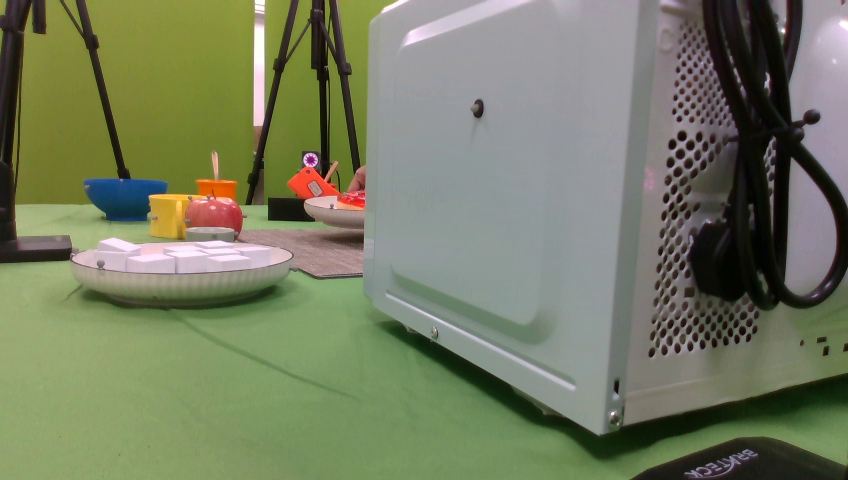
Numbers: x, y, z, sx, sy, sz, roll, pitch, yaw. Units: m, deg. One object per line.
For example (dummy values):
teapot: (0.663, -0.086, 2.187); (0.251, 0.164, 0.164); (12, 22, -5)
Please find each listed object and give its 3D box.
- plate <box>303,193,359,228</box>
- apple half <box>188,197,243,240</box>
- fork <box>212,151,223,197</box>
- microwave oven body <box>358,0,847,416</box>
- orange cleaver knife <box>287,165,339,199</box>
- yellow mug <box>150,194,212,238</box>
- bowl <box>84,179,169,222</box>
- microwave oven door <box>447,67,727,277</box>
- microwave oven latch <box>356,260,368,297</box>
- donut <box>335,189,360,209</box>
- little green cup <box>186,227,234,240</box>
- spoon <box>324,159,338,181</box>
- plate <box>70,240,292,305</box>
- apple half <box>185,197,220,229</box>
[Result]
plate: (-0.105, -0.052, 1.052); (0.209, 0.038, 0.209); (2, 11, 0)
apple half: (-0.305, -0.026, 0.907); (0.053, 0.074, 0.081); (12, 8, 31)
fork: (-0.494, -0.143, 1.442); (0.028, 0.018, 0.206); (-2, 52, -20)
microwave oven body: (0.211, -0.047, 0.475); (0.444, 0.260, 0.324); (-1, 8, -28)
orange cleaver knife: (-0.211, -0.093, 1.382); (0.212, 0.077, 0.012); (33, 1, -15)
yellow mug: (-0.401, -0.040, 1.003); (0.100, 0.064, 0.130); (0, 9, -20)
bowl: (-0.584, -0.078, 1.194); (0.151, 0.077, 0.151); (3, 8, 0)
microwave oven door: (0.192, -0.094, 0.796); (0.354, 0.243, 0.039); (7, 9, 34)
microwave oven latch: (-0.020, 0.033, 0.531); (0.079, 0.029, 0.030); (-1, 7, -27)
donut: (-0.106, -0.063, 1.051); (0.099, 0.048, 0.099); (4, 10, 0)
little green cup: (-0.285, 0.005, 0.805); (0.061, 0.038, 0.061); (2, 8, 0)
spoon: (-0.257, -0.147, 1.567); (0.041, 0.022, 0.193); (2, 51, 19)
plate: (-0.242, 0.031, 0.618); (0.208, 0.039, 0.207); (2, 8, 0)
apple half: (-0.338, -0.031, 0.927); (0.032, 0.081, 0.081); (12, 12, 31)
